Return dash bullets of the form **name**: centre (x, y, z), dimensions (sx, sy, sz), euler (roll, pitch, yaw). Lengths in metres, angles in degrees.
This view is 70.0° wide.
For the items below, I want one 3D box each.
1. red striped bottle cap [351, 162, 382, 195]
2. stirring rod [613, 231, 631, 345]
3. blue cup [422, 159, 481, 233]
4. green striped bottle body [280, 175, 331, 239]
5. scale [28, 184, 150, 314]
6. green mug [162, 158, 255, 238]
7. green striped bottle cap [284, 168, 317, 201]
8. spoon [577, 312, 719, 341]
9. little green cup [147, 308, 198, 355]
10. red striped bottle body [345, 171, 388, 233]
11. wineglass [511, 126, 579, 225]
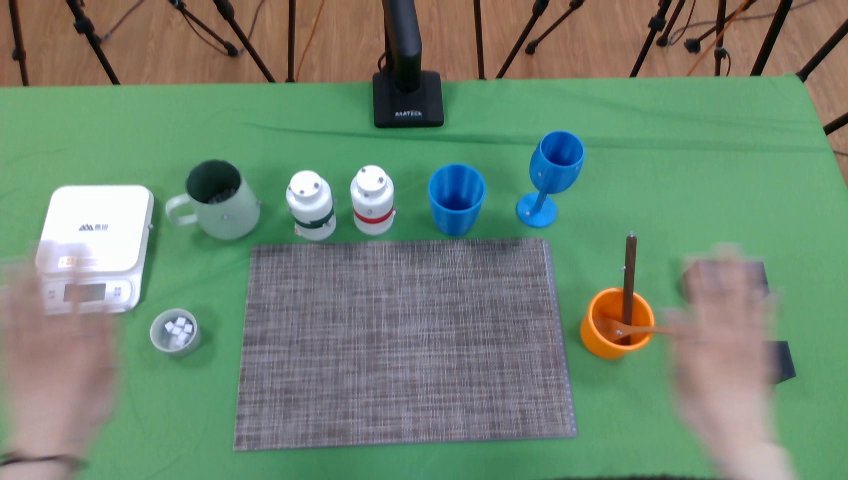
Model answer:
- **red striped bottle cap**: centre (-0.082, -0.087, 0.854), dimensions (0.044, 0.018, 0.044), euler (1, 66, -2)
- **stirring rod**: centre (0.275, 0.070, 0.842), dimensions (0.014, 0.177, 0.006), euler (1, 23, 11)
- **blue cup**: centre (0.039, -0.058, 0.916), dimensions (0.092, 0.101, 0.092), euler (0, 64, -1)
- **green striped bottle body**: centre (-0.174, -0.054, 0.891), dimensions (0.063, 0.120, 0.062), euler (1, 64, -2)
- **scale**: centre (-0.490, 0.009, 0.890), dimensions (0.149, 0.032, 0.199), euler (-2, 65, -4)
- **green mug**: centre (-0.319, -0.054, 0.891), dimensions (0.125, 0.105, 0.092), euler (-22, 68, -13)
- **green striped bottle cap**: centre (-0.173, -0.078, 0.844), dimensions (0.044, 0.020, 0.044), euler (2, 64, -3)
- **spoon**: centre (0.296, 0.117, 0.821), dimensions (0.022, 0.193, 0.041), euler (28, 65, -38)
- **little green cup**: centre (-0.344, 0.129, 0.838), dimensions (0.061, 0.039, 0.061), euler (2, 64, -4)
- **red striped bottle body**: centre (-0.085, -0.064, 0.901), dimensions (0.063, 0.120, 0.062), euler (2, 64, -3)
- **wineglass**: centre (0.176, -0.091, 0.899), dimensions (0.074, 0.173, 0.073), euler (1, 64, -2)
